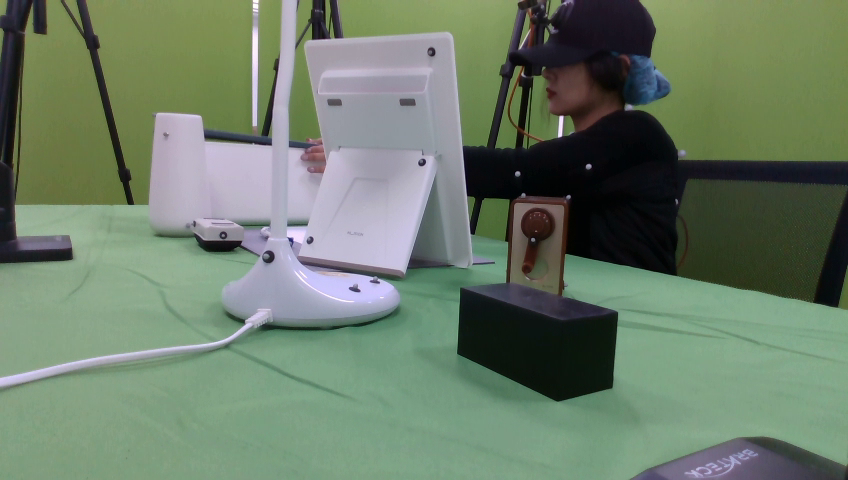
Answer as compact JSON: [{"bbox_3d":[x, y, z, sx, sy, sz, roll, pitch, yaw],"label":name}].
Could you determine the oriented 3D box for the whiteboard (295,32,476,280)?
[{"bbox_3d":[-0.076,-0.084,0.747,0.216,0.305,0.144,7,28,29],"label":"whiteboard"}]

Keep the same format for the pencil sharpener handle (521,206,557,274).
[{"bbox_3d":[0.112,0.000,0.611,0.036,0.067,0.031,13,10,11],"label":"pencil sharpener handle"}]

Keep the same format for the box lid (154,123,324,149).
[{"bbox_3d":[-0.355,-0.213,1.282,0.374,0.015,0.262,3,8,-33],"label":"box lid"}]

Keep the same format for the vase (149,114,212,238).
[{"bbox_3d":[-0.405,-0.106,1.005,0.098,0.200,0.098,2,6,0],"label":"vase"}]

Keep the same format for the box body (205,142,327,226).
[{"bbox_3d":[-0.363,-0.123,1.293,0.366,0.160,0.253,-2,9,-32],"label":"box body"}]

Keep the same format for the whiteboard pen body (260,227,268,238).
[{"bbox_3d":[-0.239,-0.005,0.964,0.017,0.017,0.140,-2,9,-28],"label":"whiteboard pen body"}]

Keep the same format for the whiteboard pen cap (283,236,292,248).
[{"bbox_3d":[-0.211,0.003,0.913,0.018,0.018,0.033,-2,6,-28],"label":"whiteboard pen cap"}]

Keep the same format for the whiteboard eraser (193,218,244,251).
[{"bbox_3d":[-0.307,-0.010,0.900,0.056,0.042,0.112,-4,10,-28],"label":"whiteboard eraser"}]

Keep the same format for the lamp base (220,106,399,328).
[{"bbox_3d":[-0.102,-0.023,0.531,0.160,0.180,0.179,4,10,10],"label":"lamp base"}]

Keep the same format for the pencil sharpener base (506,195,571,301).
[{"bbox_3d":[0.126,0.007,0.662,0.061,0.107,0.077,4,8,13],"label":"pencil sharpener base"}]
